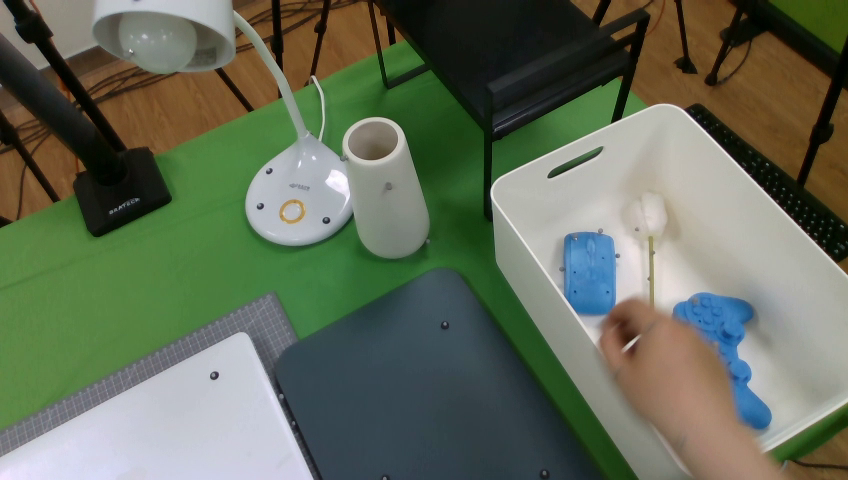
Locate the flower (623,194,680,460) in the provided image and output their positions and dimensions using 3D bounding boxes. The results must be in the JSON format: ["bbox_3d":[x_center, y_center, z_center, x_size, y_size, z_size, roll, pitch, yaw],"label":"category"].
[{"bbox_3d":[0.277,0.098,0.719,0.044,0.038,0.358,-13,54,26],"label":"flower"}]

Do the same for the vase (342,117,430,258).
[{"bbox_3d":[-0.048,-0.060,0.746,0.098,0.202,0.097,-3,58,5],"label":"vase"}]

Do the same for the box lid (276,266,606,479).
[{"bbox_3d":[0.012,0.215,0.688,0.263,0.015,0.368,-28,62,-13],"label":"box lid"}]

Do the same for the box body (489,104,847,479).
[{"bbox_3d":[0.263,0.058,0.672,0.254,0.162,0.360,-26,61,-10],"label":"box body"}]

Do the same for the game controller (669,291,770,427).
[{"bbox_3d":[0.335,0.127,0.687,0.097,0.052,0.154,3,59,8],"label":"game controller"}]

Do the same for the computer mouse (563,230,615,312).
[{"bbox_3d":[0.206,0.035,0.756,0.062,0.041,0.116,4,56,11],"label":"computer mouse"}]

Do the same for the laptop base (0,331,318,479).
[{"bbox_3d":[-0.314,0.277,0.674,0.354,0.023,0.233,-28,65,-11],"label":"laptop base"}]

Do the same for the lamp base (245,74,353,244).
[{"bbox_3d":[-0.179,-0.114,0.799,0.160,0.182,0.177,1,57,6],"label":"lamp base"}]

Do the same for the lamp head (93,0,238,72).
[{"bbox_3d":[-0.213,-0.216,0.514,0.112,0.113,0.122,-2,77,4],"label":"lamp head"}]

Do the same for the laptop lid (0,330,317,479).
[{"bbox_3d":[-0.314,0.274,0.662,0.357,0.013,0.239,-27,63,-11],"label":"laptop lid"}]
